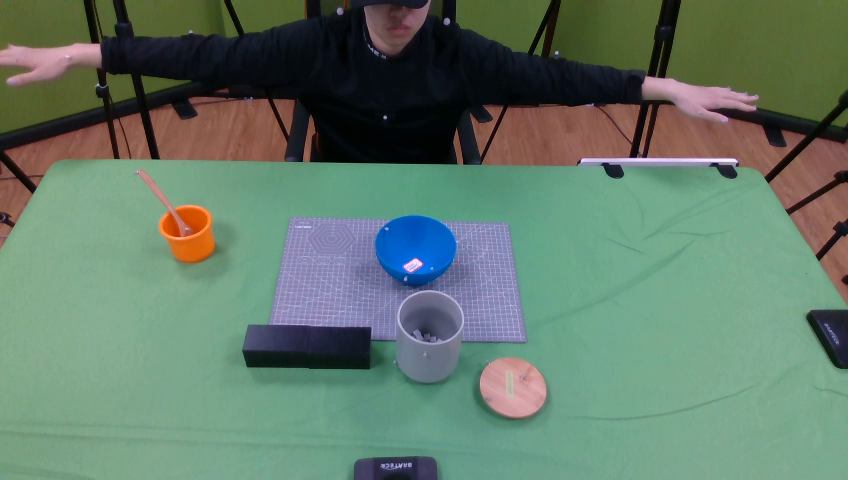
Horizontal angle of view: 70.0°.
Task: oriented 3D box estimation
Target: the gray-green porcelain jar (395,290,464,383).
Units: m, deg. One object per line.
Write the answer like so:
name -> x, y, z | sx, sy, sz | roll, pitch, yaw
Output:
gray-green porcelain jar -> 0.006, 0.160, 0.972 | 0.106, 0.127, 0.105 | 2, 46, -2

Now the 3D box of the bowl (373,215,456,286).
bowl -> -0.019, 0.032, 1.122 | 0.151, 0.077, 0.150 | 2, 46, -2

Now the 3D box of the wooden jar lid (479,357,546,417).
wooden jar lid -> 0.142, 0.240, 0.979 | 0.108, 0.021, 0.107 | 1, 46, -1

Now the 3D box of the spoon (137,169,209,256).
spoon -> -0.466, -0.051, 1.123 | 0.041, 0.194, 0.021 | -41, 17, -34
